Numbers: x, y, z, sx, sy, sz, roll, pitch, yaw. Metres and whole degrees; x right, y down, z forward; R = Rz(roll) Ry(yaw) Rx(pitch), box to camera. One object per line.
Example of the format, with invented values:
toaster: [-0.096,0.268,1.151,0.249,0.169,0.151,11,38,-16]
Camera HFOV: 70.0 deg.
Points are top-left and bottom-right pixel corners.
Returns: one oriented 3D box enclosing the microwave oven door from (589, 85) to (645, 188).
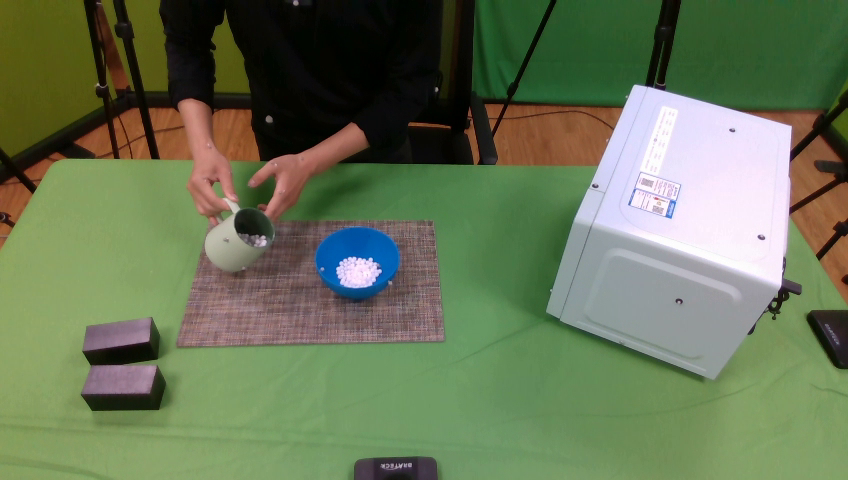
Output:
microwave oven door: [0.342,-0.107,1.148,0.039,0.245,0.354,20,48,15]

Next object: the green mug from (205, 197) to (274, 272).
green mug: [-0.335,-0.015,1.071,0.092,0.105,0.125,-29,88,-51]

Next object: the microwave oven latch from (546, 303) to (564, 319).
microwave oven latch: [0.242,0.102,1.081,0.030,0.029,0.079,21,48,17]

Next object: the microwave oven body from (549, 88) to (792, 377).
microwave oven body: [0.456,-0.028,1.088,0.325,0.261,0.440,20,47,16]

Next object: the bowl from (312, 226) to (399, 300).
bowl: [-0.121,0.054,1.091,0.151,0.077,0.150,2,46,-2]
